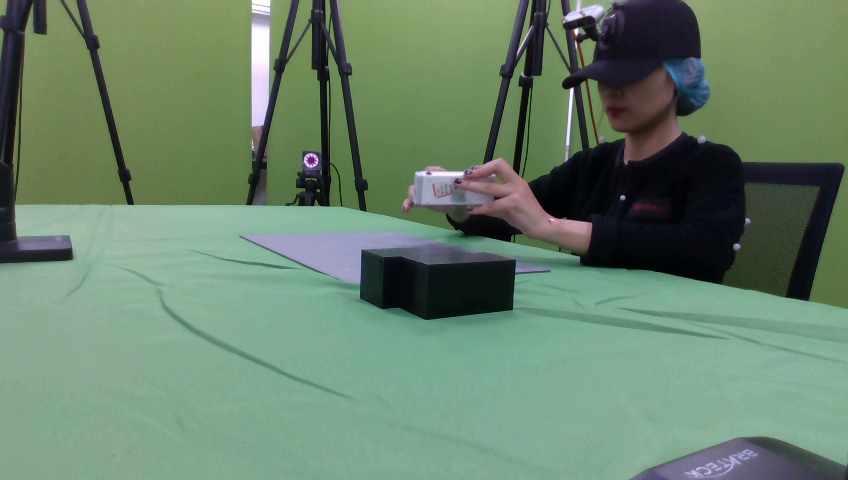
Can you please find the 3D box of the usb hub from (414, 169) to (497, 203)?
[{"bbox_3d":[0.049,-0.083,0.927,0.125,0.049,0.025,-1,22,-14],"label":"usb hub"}]

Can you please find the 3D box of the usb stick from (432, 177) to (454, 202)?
[{"bbox_3d":[0.032,-0.084,0.968,0.021,0.027,0.059,2,-20,-19],"label":"usb stick"}]
